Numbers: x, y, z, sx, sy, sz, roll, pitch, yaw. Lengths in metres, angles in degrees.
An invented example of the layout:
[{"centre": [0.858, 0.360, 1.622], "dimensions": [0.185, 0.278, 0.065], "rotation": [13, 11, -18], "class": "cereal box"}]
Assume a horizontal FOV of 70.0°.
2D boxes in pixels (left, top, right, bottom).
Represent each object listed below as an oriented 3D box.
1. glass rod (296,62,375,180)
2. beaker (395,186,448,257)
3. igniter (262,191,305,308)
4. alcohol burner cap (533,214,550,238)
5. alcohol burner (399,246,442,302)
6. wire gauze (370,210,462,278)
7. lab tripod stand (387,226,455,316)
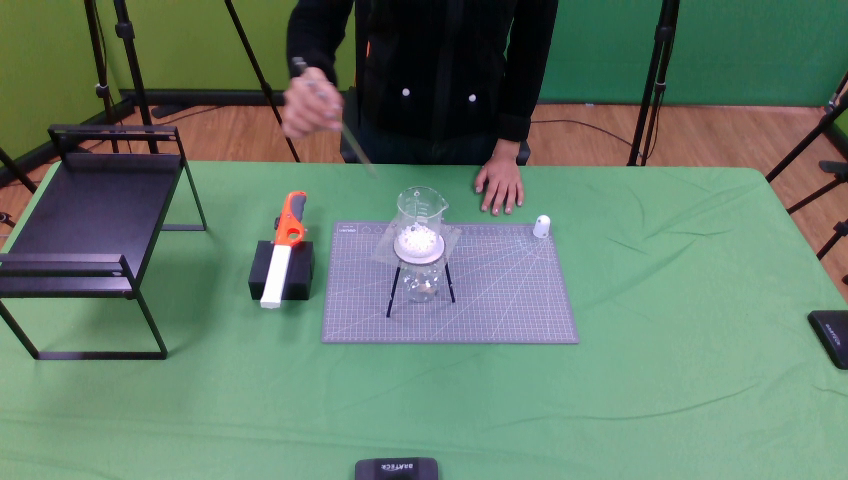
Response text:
[{"centre": [-0.120, -0.160, 0.842], "dimensions": [0.008, 0.201, 0.008], "rotation": [-22, 34, 16], "class": "glass rod"}, {"centre": [-0.006, -0.027, 0.984], "dimensions": [0.084, 0.101, 0.073], "rotation": [1, 48, -4], "class": "beaker"}, {"centre": [-0.254, 0.007, 1.103], "dimensions": [0.057, 0.025, 0.275], "rotation": [5, 47, -4], "class": "igniter"}, {"centre": [0.240, -0.030, 1.229], "dimensions": [0.034, 0.048, 0.033], "rotation": [1, 46, -1], "class": "alcohol burner cap"}, {"centre": [-0.006, 0.055, 1.078], "dimensions": [0.078, 0.119, 0.077], "rotation": [3, 44, -3], "class": "alcohol burner"}, {"centre": [-0.012, 0.007, 1.019], "dimensions": [0.121, 0.011, 0.124], "rotation": [16, 51, 13], "class": "wire gauze"}, {"centre": [-0.013, 0.055, 1.064], "dimensions": [0.148, 0.132, 0.147], "rotation": [2, 48, -2], "class": "lab tripod stand"}]
